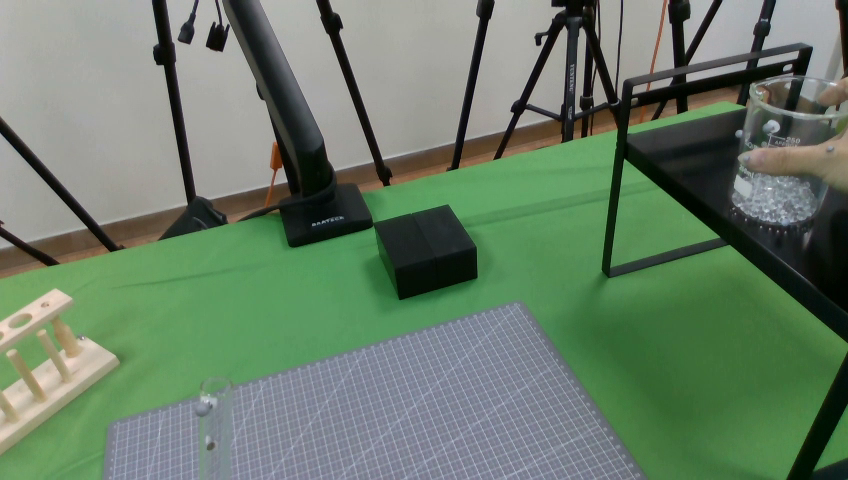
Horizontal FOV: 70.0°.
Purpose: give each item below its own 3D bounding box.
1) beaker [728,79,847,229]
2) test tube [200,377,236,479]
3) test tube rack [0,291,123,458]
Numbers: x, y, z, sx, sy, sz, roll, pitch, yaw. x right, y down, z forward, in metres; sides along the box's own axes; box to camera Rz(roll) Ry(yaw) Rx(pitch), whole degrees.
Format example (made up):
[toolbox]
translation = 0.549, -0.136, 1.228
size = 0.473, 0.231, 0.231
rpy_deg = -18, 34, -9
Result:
[beaker]
translation = 0.285, -0.067, 0.478
size = 0.074, 0.101, 0.083
rpy_deg = -20, 38, -19
[test tube]
translation = -0.112, 0.137, 0.323
size = 0.017, 0.151, 0.017
rpy_deg = 9, 24, -4
[test tube rack]
translation = -0.432, 0.160, 0.585
size = 0.066, 0.086, 0.242
rpy_deg = 19, 43, 29
